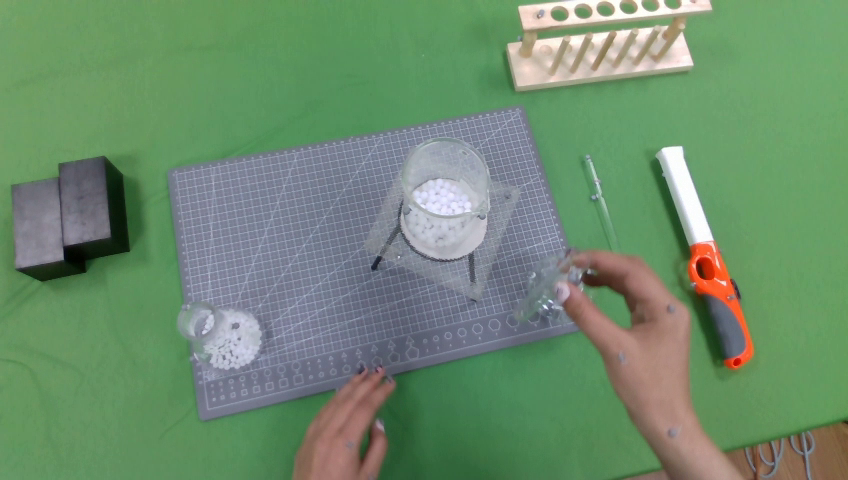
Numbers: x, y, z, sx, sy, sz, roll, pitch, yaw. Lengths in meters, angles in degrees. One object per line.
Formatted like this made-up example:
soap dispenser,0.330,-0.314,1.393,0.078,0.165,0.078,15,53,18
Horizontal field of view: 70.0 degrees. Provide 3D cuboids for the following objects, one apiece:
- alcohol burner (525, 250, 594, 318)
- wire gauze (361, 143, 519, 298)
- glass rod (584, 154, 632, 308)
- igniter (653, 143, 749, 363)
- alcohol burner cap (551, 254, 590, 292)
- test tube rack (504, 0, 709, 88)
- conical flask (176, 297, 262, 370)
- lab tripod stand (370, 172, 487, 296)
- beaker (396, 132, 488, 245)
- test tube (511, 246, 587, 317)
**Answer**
alcohol burner,0.151,0.044,0.660,0.078,0.120,0.077,0,72,0
wire gauze,0.017,-0.023,0.593,0.125,0.011,0.121,24,76,2
glass rod,0.225,-0.013,0.741,0.008,0.008,0.198,-10,76,-7
igniter,0.333,0.009,0.731,0.057,0.025,0.274,-7,73,-17
alcohol burner cap,0.153,0.031,0.626,0.034,0.048,0.033,2,65,-4
test tube rack,0.233,-0.261,0.777,0.243,0.085,0.066,-8,73,-6
conical flask,-0.213,0.089,0.618,0.075,0.122,0.075,1,72,-3
lab tripod stand,0.011,-0.004,0.656,0.148,0.132,0.147,1,74,-2
beaker,0.016,-0.039,0.547,0.084,0.101,0.074,37,75,8
test tube,0.096,0.037,0.484,0.017,0.151,0.017,3,69,-7
